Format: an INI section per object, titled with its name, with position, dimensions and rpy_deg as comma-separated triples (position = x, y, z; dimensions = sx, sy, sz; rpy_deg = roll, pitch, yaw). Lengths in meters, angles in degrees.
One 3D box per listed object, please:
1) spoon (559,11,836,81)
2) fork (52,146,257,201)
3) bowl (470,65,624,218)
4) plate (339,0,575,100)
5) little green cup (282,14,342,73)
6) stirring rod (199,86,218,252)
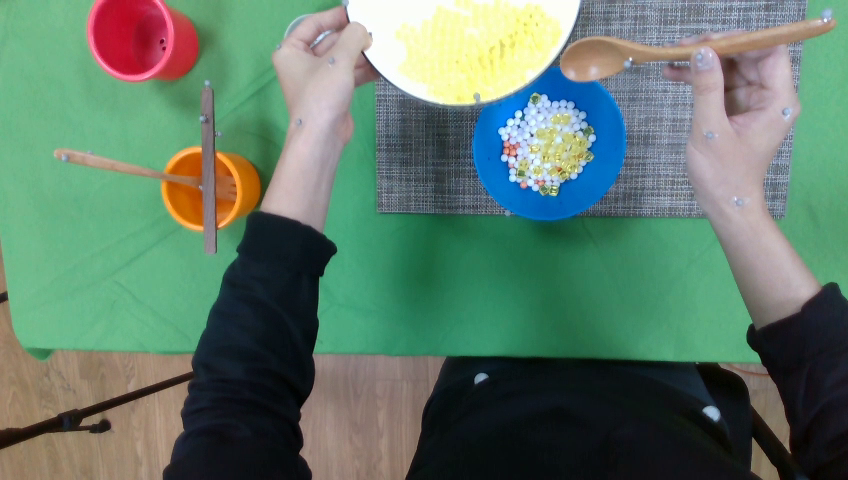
[spoon]
position = 0.185, -0.139, 0.440
dimensions = 0.042, 0.192, 0.021
rpy_deg = 48, 64, -37
[fork]
position = -0.280, -0.071, 0.653
dimensions = 0.209, 0.018, 0.028
rpy_deg = 10, 107, -39
[bowl]
position = 0.125, -0.102, 0.634
dimensions = 0.151, 0.076, 0.152
rpy_deg = 1, 100, 7
[plate]
position = 0.029, -0.229, 0.538
dimensions = 0.209, 0.038, 0.209
rpy_deg = 0, 98, 4
[little green cup]
position = -0.121, -0.213, 0.666
dimensions = 0.061, 0.038, 0.062
rpy_deg = 1, 100, 7
[stirring rod]
position = -0.229, -0.073, 0.644
dimensions = 0.014, 0.006, 0.176
rpy_deg = 3, 101, 5
